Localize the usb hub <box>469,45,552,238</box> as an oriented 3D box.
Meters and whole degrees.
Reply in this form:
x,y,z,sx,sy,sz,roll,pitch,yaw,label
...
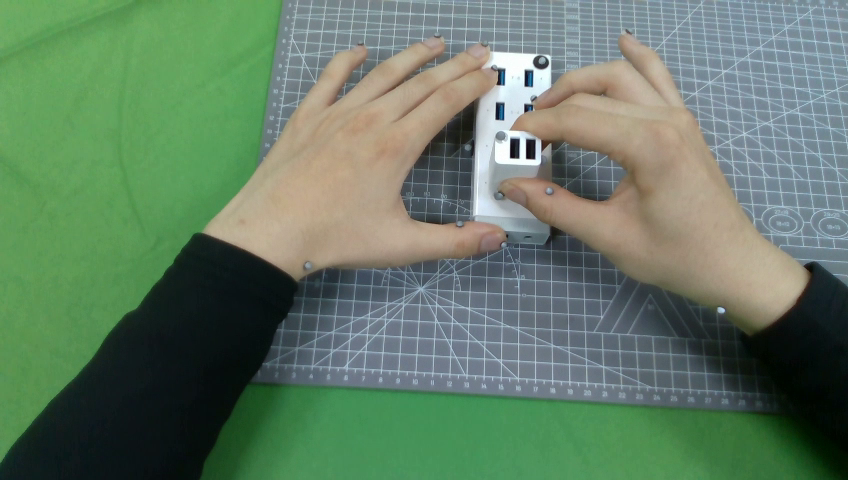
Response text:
x,y,z,sx,sy,sz,roll,pitch,yaw,label
0.055,-0.064,0.386,0.049,0.025,0.124,3,73,-1,usb hub

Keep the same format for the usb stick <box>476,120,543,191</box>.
x,y,z,sx,sy,sz,roll,pitch,yaw,label
0.046,-0.044,0.347,0.027,0.059,0.021,7,70,-12,usb stick
